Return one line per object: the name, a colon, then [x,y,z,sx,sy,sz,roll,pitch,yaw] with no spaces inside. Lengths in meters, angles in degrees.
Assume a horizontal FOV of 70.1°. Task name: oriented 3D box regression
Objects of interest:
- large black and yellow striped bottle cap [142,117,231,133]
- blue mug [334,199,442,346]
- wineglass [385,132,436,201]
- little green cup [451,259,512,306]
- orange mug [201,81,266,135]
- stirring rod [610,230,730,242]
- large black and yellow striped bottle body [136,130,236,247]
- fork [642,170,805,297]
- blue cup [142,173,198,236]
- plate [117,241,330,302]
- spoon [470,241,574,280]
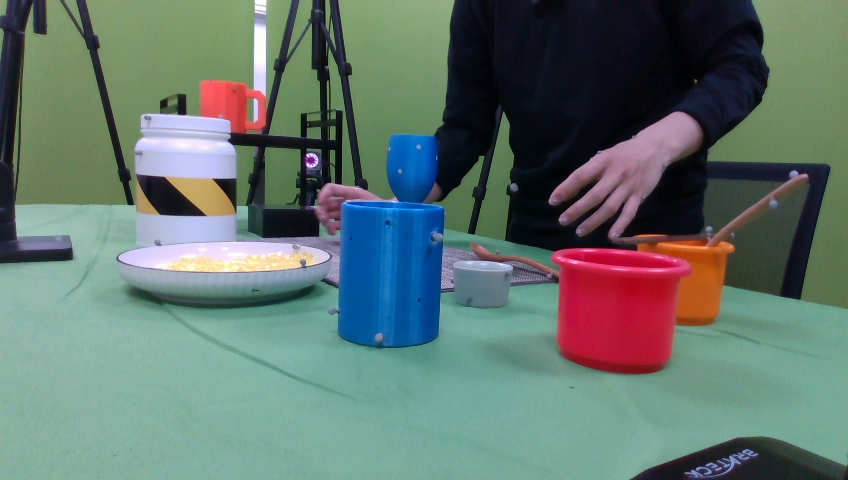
large black and yellow striped bottle cap: [-0.328,-0.159,0.839,0.115,0.019,0.115,1,9,0]
blue mug: [-0.034,0.020,0.498,0.083,0.106,0.116,0,7,-20]
wineglass: [-0.020,-0.061,0.838,0.074,0.172,0.073,2,7,0]
little green cup: [0.057,0.043,0.612,0.061,0.038,0.061,3,8,0]
orange mug: [-0.377,-0.260,1.198,0.126,0.101,0.083,-3,8,-6]
stirring rod: [0.241,-0.004,0.582,0.177,0.006,0.014,-3,10,-33]
large black and yellow striped bottle body: [-0.332,-0.076,0.851,0.131,0.184,0.130,3,8,0]
fork: [0.261,0.004,0.545,0.028,0.018,0.207,6,-38,-15]
blue cup: [-0.425,-0.060,1.014,0.093,0.100,0.092,4,9,0]
plate: [-0.203,0.031,0.630,0.209,0.038,0.209,3,7,0]
spoon: [0.124,0.025,0.801,0.042,0.021,0.192,23,-5,-35]
